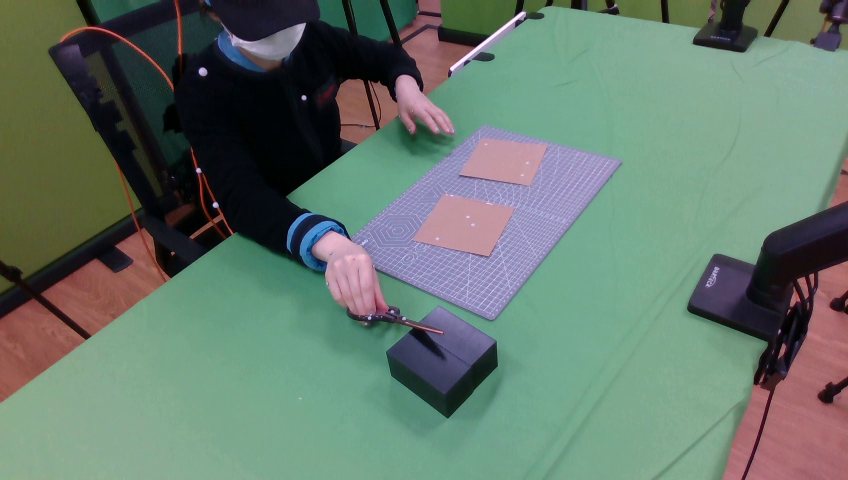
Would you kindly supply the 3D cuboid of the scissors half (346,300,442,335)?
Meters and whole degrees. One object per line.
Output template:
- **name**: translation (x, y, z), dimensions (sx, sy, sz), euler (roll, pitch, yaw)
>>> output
- **scissors half**: translation (-0.042, 0.102, 0.792), dimensions (0.174, 0.040, 0.013), euler (11, 81, 40)

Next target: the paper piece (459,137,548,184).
- **paper piece**: translation (0.150, -0.152, 1.130), dimensions (0.135, 0.009, 0.138), euler (15, 43, 17)

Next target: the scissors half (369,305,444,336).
- **scissors half**: translation (-0.029, 0.107, 0.806), dimensions (0.040, 0.013, 0.174), euler (16, -4, -36)

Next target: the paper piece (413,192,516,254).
- **paper piece**: translation (0.068, -0.030, 1.000), dimensions (0.134, 0.004, 0.136), euler (12, 44, 23)
